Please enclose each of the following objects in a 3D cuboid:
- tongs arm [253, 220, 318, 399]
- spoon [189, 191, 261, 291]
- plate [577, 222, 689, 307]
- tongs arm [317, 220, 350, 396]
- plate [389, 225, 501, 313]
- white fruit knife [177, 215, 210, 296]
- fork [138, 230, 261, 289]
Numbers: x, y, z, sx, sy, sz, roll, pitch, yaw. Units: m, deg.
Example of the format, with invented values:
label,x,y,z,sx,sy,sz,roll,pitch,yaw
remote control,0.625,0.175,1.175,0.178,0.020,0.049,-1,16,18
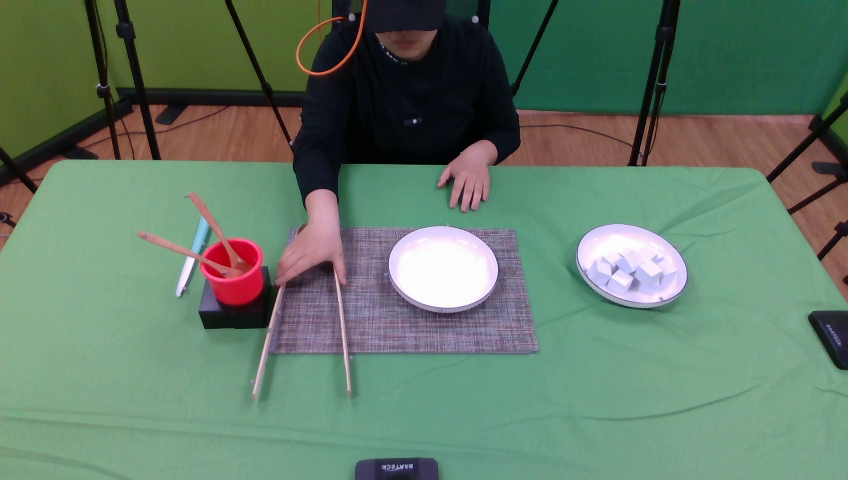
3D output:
label,x,y,z,sx,sy,sz,roll,pitch,yaw
tongs arm,-0.237,0.105,1.068,0.051,0.026,0.382,1,46,0
spoon,-0.333,0.001,1.012,0.041,0.194,0.021,-34,15,-25
plate,0.396,0.050,1.165,0.209,0.038,0.208,2,47,-2
tongs arm,-0.159,0.103,1.074,0.028,0.028,0.385,-11,47,-6
plate,0.038,0.057,1.129,0.208,0.039,0.206,2,46,-2
white fruit knife,-0.435,0.025,1.148,0.027,0.016,0.206,-18,45,19
fork,-0.359,0.032,0.981,0.208,0.018,0.028,31,60,-30
